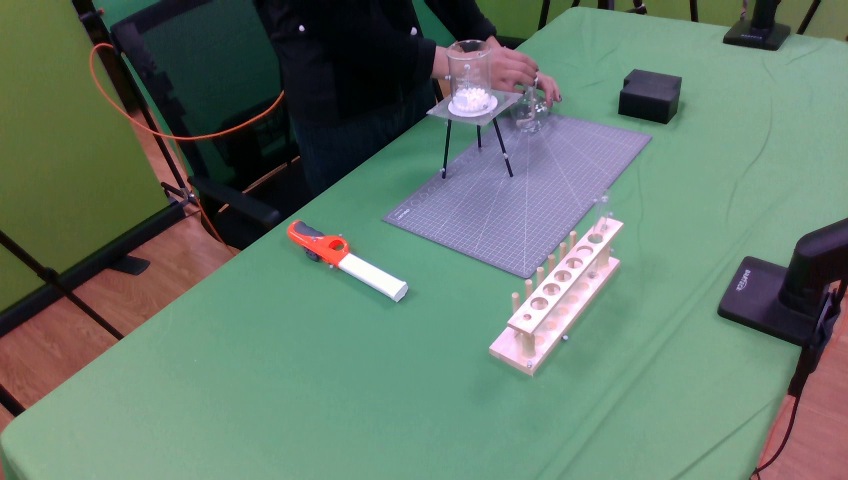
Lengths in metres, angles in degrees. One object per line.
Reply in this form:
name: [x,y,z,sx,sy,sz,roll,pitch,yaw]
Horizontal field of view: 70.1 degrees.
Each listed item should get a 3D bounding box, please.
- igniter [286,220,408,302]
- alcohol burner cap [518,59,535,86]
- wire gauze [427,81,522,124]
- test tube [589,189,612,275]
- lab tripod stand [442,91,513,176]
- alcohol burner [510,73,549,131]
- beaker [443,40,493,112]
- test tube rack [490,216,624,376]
igniter: [-0.134,0.028,0.969,0.274,0.025,0.057,26,61,35]
alcohol burner cap: [0.193,-0.321,1.151,0.034,0.048,0.033,-9,45,10]
wire gauze: [0.088,-0.237,1.051,0.120,0.011,0.125,23,47,29]
test tube: [0.238,-0.007,0.818,0.017,0.151,0.017,-3,43,4]
lab tripod stand: [0.096,-0.190,1.096,0.148,0.132,0.147,-4,40,4]
alcohol burner: [0.209,-0.276,1.192,0.078,0.119,0.077,-4,42,4]
beaker: [0.076,-0.276,1.023,0.083,0.101,0.074,5,42,15]
test tube rack: [0.184,0.064,0.822,0.066,0.085,0.243,24,50,33]
